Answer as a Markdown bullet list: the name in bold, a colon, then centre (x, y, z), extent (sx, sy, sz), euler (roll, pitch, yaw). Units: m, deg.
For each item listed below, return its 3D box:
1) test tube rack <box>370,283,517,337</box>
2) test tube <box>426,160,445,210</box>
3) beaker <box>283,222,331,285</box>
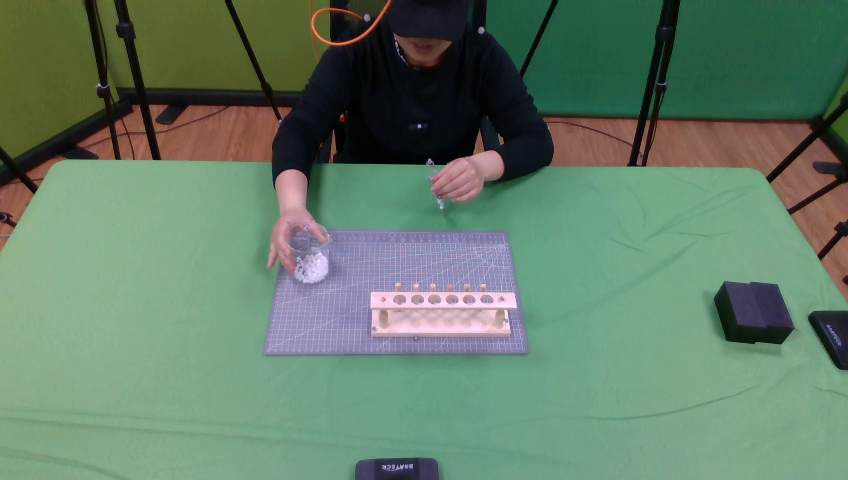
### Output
- **test tube rack**: centre (0.030, 0.116, 1.041), extent (0.242, 0.085, 0.066), euler (1, 46, -4)
- **test tube**: centre (0.024, -0.105, 1.201), extent (0.017, 0.151, 0.017), euler (-6, 57, 9)
- **beaker**: centre (-0.208, 0.027, 1.098), extent (0.084, 0.101, 0.073), euler (2, 48, -3)
